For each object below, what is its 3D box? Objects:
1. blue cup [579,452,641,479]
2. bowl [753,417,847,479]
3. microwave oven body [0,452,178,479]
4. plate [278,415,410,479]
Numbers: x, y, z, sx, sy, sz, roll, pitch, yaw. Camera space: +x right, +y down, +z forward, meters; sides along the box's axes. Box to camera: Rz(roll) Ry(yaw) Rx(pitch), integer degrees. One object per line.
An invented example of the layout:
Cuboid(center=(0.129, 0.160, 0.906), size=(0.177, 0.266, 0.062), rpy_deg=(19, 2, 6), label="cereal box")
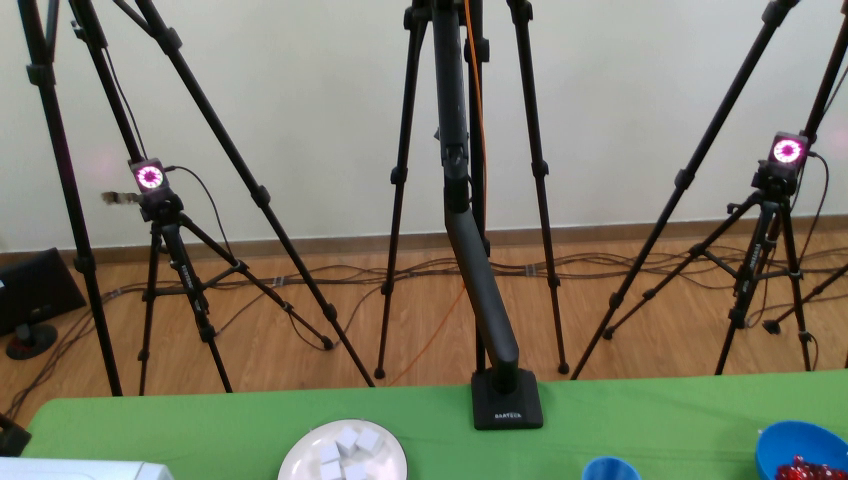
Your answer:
Cuboid(center=(0.266, 0.376, 0.890), size=(0.092, 0.101, 0.091), rpy_deg=(-2, 40, 2), label="blue cup")
Cuboid(center=(0.570, 0.352, 0.914), size=(0.151, 0.077, 0.150), rpy_deg=(-3, 39, 2), label="bowl")
Cuboid(center=(-0.484, 0.495, 0.667), size=(0.326, 0.262, 0.437), rpy_deg=(0, 40, 4), label="microwave oven body")
Cuboid(center=(-0.126, 0.378, 0.970), size=(0.207, 0.039, 0.205), rpy_deg=(-2, 38, 2), label="plate")
